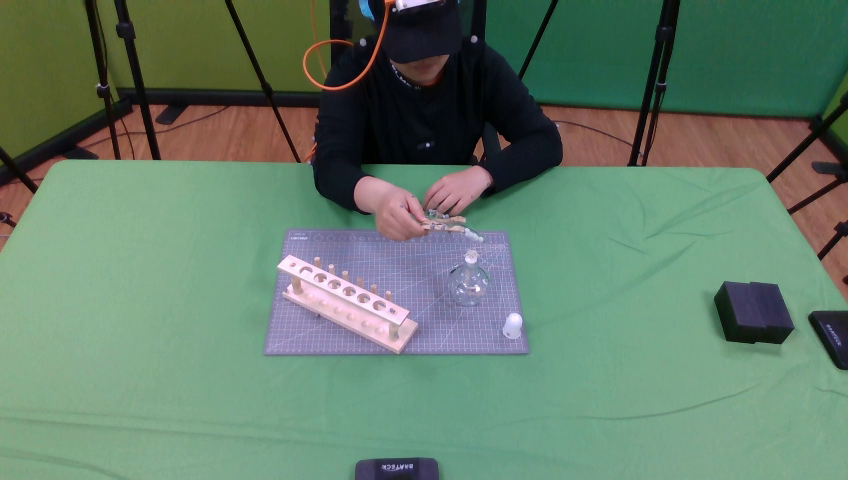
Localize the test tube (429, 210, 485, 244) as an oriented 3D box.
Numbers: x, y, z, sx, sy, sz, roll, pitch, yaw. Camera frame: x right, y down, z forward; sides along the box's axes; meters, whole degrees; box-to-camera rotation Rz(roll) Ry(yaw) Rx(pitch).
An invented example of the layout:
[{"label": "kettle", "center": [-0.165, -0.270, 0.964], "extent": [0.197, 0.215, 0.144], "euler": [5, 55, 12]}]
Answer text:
[{"label": "test tube", "center": [0.057, -0.019, 0.974], "extent": [0.017, 0.151, 0.017], "euler": [-13, 67, 33]}]

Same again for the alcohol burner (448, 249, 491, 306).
[{"label": "alcohol burner", "center": [0.081, 0.062, 1.078], "extent": [0.078, 0.120, 0.077], "euler": [1, 45, -1]}]

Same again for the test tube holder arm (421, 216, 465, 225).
[{"label": "test tube holder arm", "center": [0.030, -0.030, 0.976], "extent": [0.087, 0.015, 0.010], "euler": [-6, 74, 45]}]

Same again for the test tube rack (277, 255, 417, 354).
[{"label": "test tube rack", "center": [-0.131, 0.099, 1.045], "extent": [0.241, 0.085, 0.066], "euler": [23, 49, 17]}]

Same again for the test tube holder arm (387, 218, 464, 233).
[{"label": "test tube holder arm", "center": [-0.002, -0.025, 1.007], "extent": [0.015, 0.013, 0.177], "euler": [17, -7, -43]}]

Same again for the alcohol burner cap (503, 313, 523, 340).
[{"label": "alcohol burner cap", "center": [0.156, 0.148, 1.051], "extent": [0.034, 0.048, 0.033], "euler": [1, 45, -1]}]
